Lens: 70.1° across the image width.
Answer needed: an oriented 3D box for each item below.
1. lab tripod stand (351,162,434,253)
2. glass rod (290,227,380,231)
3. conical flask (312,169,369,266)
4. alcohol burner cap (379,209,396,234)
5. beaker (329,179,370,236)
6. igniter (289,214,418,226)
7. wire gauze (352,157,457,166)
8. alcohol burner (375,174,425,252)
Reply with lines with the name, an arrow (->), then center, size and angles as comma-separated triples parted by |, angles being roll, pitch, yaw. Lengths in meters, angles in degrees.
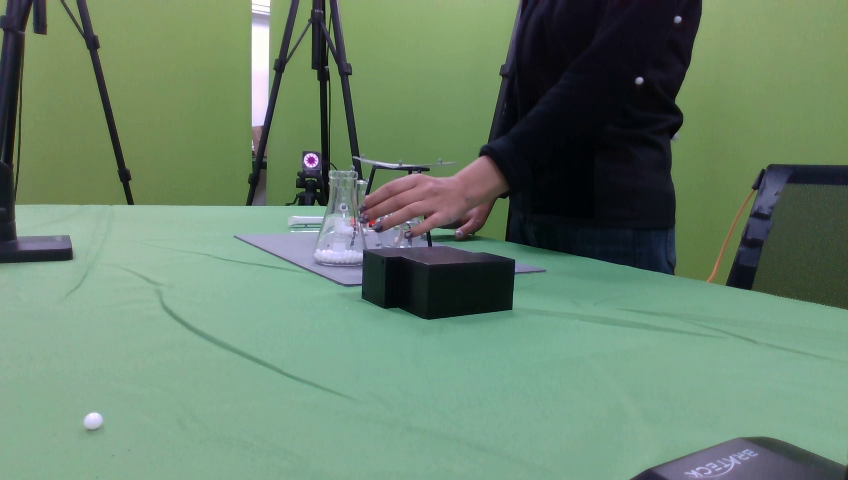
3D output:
lab tripod stand -> -0.034, -0.052, 0.934 | 0.148, 0.131, 0.148 | 4, 7, 0
glass rod -> -0.161, -0.022, 1.177 | 0.201, 0.008, 0.008 | -2, 8, -28
conical flask -> -0.107, -0.031, 0.786 | 0.075, 0.122, 0.075 | 2, 8, 0
alcohol burner cap -> -0.069, -0.036, 1.154 | 0.034, 0.048, 0.034 | 2, 7, 0
beaker -> -0.137, -0.061, 1.101 | 0.084, 0.100, 0.074 | 5, 7, 20
igniter -> -0.141, -0.042, 1.258 | 0.278, 0.025, 0.057 | -1, -2, -30
wire gauze -> -0.030, -0.119, 0.927 | 0.122, 0.011, 0.124 | -3, 9, -36
alcohol burner -> -0.036, -0.042, 0.934 | 0.078, 0.119, 0.078 | 2, 9, 0
